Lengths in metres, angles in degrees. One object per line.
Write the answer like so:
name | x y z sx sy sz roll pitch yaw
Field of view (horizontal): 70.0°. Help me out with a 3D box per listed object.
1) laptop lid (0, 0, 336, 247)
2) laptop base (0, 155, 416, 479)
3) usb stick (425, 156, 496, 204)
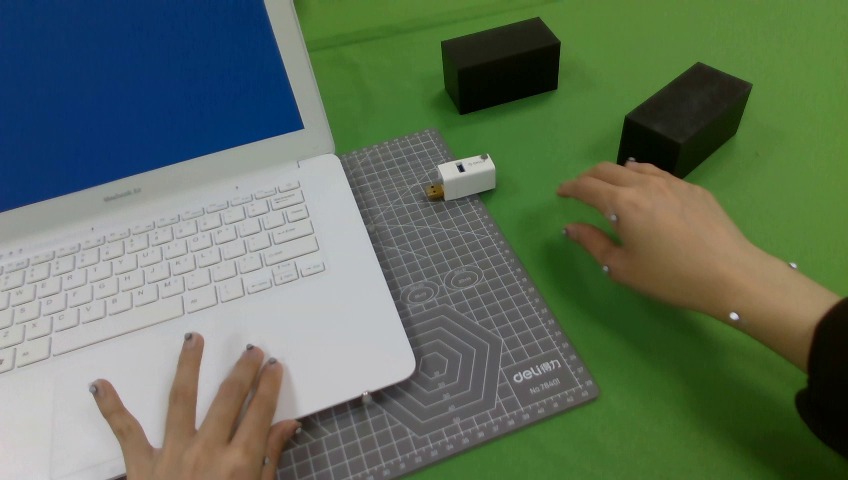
laptop lid | -0.262 -0.116 0.446 0.357 0.244 0.013 -19 35 -8
laptop base | -0.204 0.062 0.436 0.355 0.023 0.233 -17 52 -9
usb stick | 0.029 -0.047 0.497 0.059 0.027 0.021 -16 48 -4
